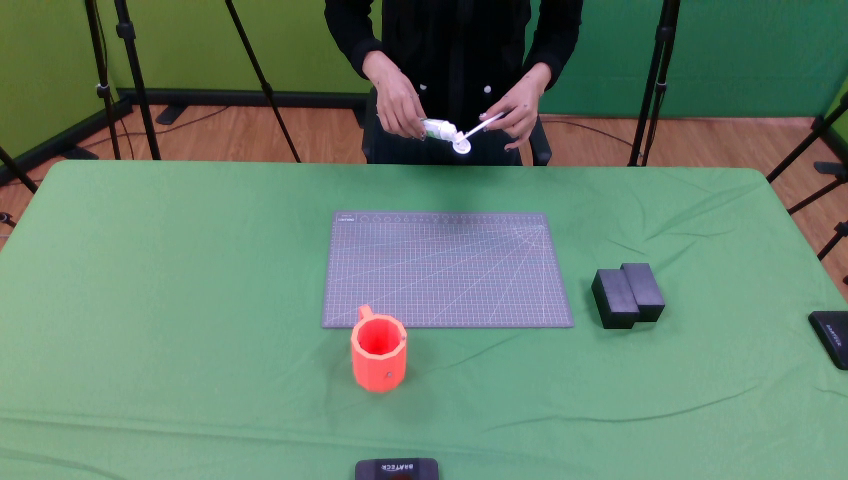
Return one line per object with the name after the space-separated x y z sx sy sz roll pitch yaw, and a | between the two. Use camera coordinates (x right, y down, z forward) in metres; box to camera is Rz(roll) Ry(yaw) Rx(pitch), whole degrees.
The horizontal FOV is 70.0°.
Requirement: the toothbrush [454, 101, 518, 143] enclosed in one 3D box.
0.119 -0.227 1.150 0.182 0.017 0.014 -35 18 -32 | toothbrush

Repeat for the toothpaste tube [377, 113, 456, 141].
-0.011 -0.217 1.149 0.164 0.055 0.034 17 78 29 | toothpaste tube

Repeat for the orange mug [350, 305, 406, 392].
-0.080 0.168 0.978 0.083 0.101 0.125 -16 54 -18 | orange mug

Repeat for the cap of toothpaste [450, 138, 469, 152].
0.067 -0.180 1.124 0.037 0.011 0.037 6 61 -10 | cap of toothpaste
